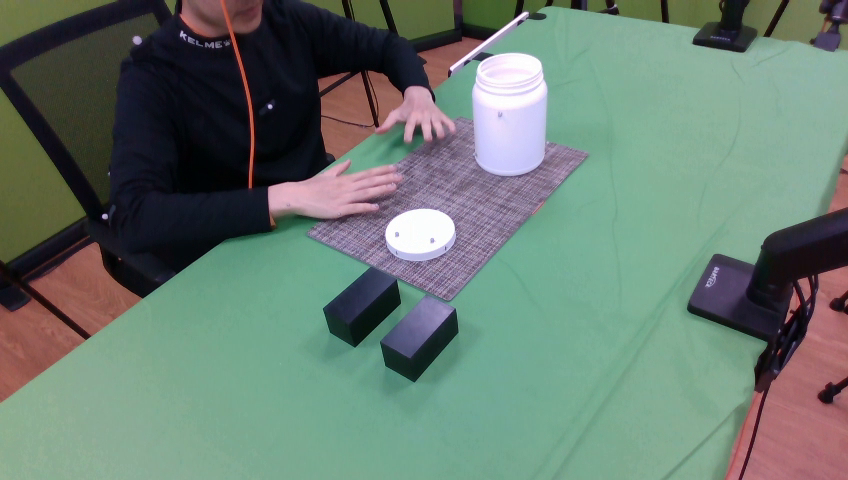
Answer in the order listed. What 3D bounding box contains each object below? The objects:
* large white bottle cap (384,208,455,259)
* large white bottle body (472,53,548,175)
[{"bbox_3d":[-0.007,-0.012,0.980,0.115,0.018,0.114,-4,40,4],"label":"large white bottle cap"},{"bbox_3d":[0.152,-0.224,1.075,0.130,0.185,0.130,-4,41,4],"label":"large white bottle body"}]
